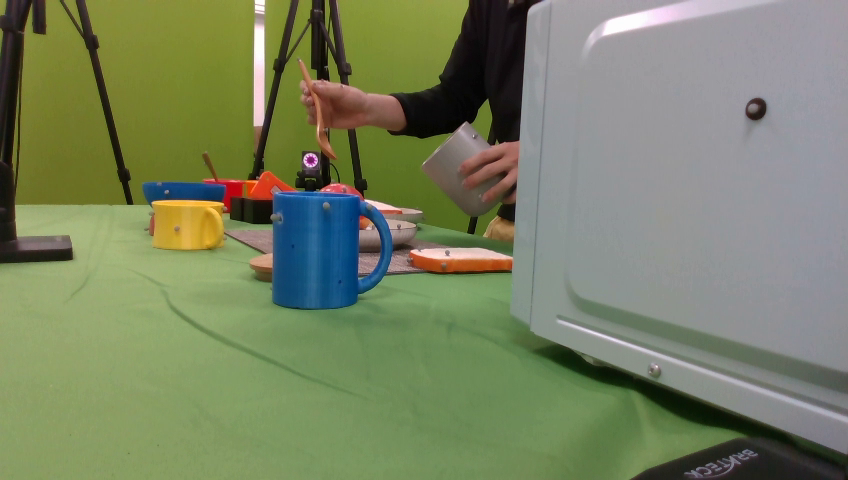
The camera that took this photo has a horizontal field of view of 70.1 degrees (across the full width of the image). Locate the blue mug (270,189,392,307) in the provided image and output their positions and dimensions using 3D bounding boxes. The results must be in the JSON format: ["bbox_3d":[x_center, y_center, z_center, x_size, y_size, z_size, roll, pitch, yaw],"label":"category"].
[{"bbox_3d":[-0.090,0.005,0.588,0.117,0.106,0.082,1,7,-11],"label":"blue mug"}]

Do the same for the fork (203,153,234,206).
[{"bbox_3d":[-0.480,-0.136,1.412,0.028,0.018,0.207,0,-34,-1],"label":"fork"}]

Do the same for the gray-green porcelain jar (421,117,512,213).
[{"bbox_3d":[0.075,-0.114,0.965,0.126,0.106,0.106,44,4,-7],"label":"gray-green porcelain jar"}]

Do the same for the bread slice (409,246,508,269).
[{"bbox_3d":[0.048,0.022,0.816,0.132,0.019,0.104,0,7,-24],"label":"bread slice"}]

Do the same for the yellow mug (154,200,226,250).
[{"bbox_3d":[-0.337,-0.022,0.899,0.130,0.064,0.100,8,9,34],"label":"yellow mug"}]

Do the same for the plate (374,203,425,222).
[{"bbox_3d":[-0.102,-0.053,1.299,0.209,0.038,0.209,2,8,0],"label":"plate"}]

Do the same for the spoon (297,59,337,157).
[{"bbox_3d":[-0.176,-0.216,0.986,0.021,0.193,0.042,-22,-18,15],"label":"spoon"}]

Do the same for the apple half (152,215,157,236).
[{"bbox_3d":[-0.415,-0.034,1.017,0.081,0.053,0.074,1,10,-9],"label":"apple half"}]

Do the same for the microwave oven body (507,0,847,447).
[{"bbox_3d":[0.331,-0.042,0.425,0.444,0.260,0.324,-2,8,-31],"label":"microwave oven body"}]

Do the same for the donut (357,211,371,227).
[{"bbox_3d":[-0.132,-0.041,0.959,0.099,0.048,0.099,3,8,0],"label":"donut"}]

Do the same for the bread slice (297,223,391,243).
[{"bbox_3d":[-0.121,-0.013,0.971,0.106,0.018,0.135,9,11,41],"label":"bread slice"}]

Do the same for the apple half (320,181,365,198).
[{"bbox_3d":[-0.130,-0.077,0.952,0.081,0.033,0.081,4,15,-1],"label":"apple half"}]

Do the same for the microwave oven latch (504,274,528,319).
[{"bbox_3d":[0.100,0.041,0.470,0.079,0.029,0.030,-1,7,-27],"label":"microwave oven latch"}]

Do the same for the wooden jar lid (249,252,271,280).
[{"bbox_3d":[-0.148,0.028,0.708,0.108,0.020,0.108,-1,10,0],"label":"wooden jar lid"}]

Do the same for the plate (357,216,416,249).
[{"bbox_3d":[-0.116,-0.014,0.967,0.208,0.039,0.207,2,7,0],"label":"plate"}]

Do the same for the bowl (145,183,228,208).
[{"bbox_3d":[-0.459,-0.069,1.175,0.151,0.077,0.151,2,7,0],"label":"bowl"}]

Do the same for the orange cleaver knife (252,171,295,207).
[{"bbox_3d":[-0.283,-0.086,1.343,0.212,0.077,0.012,24,-16,-41],"label":"orange cleaver knife"}]

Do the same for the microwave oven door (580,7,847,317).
[{"bbox_3d":[0.295,-0.067,0.570,0.358,0.243,0.039,-3,9,-31],"label":"microwave oven door"}]
